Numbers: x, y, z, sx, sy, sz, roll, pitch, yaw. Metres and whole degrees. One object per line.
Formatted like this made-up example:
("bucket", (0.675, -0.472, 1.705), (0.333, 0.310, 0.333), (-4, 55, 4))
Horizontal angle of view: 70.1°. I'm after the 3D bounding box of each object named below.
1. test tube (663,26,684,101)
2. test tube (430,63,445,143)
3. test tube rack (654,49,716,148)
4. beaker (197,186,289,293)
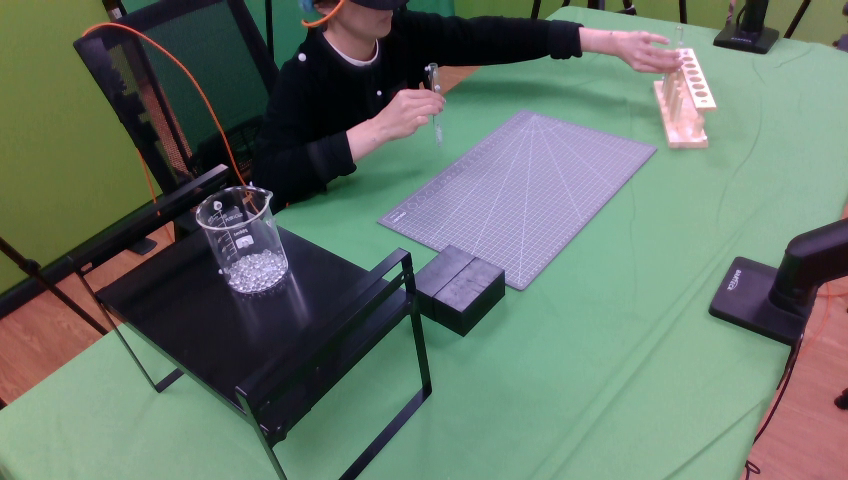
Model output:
("test tube", (0.487, -0.343, 1.182), (0.017, 0.151, 0.017), (-4, 40, 4))
("test tube", (0.025, -0.239, 1.071), (0.017, 0.151, 0.017), (-4, 39, 4))
("test tube rack", (0.502, -0.281, 1.176), (0.066, 0.085, 0.241), (1, 41, 11))
("beaker", (-0.192, 0.001, 0.666), (0.084, 0.101, 0.073), (-33, 47, -27))
